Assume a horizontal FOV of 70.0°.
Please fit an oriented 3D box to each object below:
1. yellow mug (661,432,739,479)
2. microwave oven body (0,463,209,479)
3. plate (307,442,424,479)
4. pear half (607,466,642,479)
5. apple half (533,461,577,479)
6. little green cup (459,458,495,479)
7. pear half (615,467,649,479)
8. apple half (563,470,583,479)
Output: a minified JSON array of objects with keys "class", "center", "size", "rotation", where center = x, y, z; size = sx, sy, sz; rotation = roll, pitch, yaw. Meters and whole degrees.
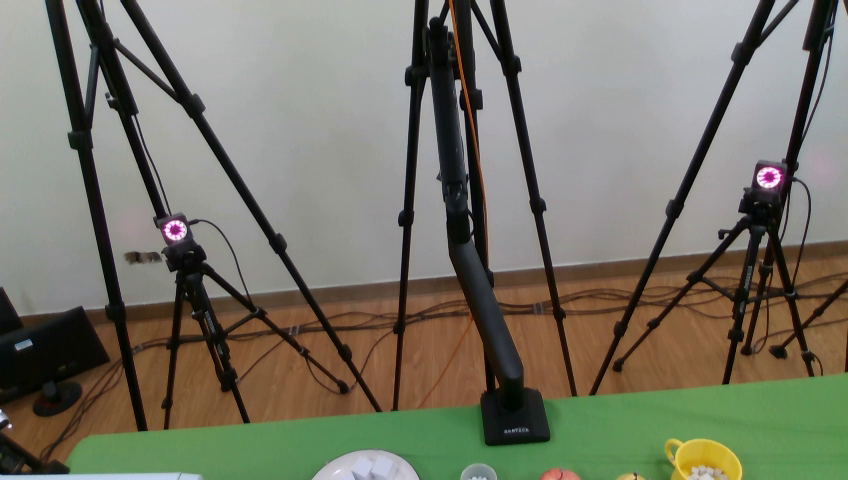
[{"class":"yellow mug","center":[0.443,0.366,0.995],"size":[0.100,0.064,0.129],"rotation":[-24,37,-23]},{"class":"microwave oven body","center":[-0.458,0.531,0.724],"size":[0.326,0.262,0.437],"rotation":[-3,35,5]},{"class":"plate","center":[-0.101,0.435,1.014],"size":[0.207,0.039,0.205],"rotation":[-4,34,3]},{"class":"pear half","center":[0.314,0.393,0.938],"size":[0.076,0.111,0.056],"rotation":[12,38,32]},{"class":"apple half","center":[0.207,0.397,0.985],"size":[0.081,0.075,0.053],"rotation":[-32,38,-28]},{"class":"little green cup","center":[0.091,0.405,1.024],"size":[0.061,0.039,0.061],"rotation":[-5,33,4]},{"class":"pear half","center":[0.336,0.384,0.966],"size":[0.070,0.089,0.031],"rotation":[10,39,31]},{"class":"apple half","center":[0.232,0.410,0.960],"size":[0.081,0.082,0.032],"rotation":[-29,36,-30]}]
